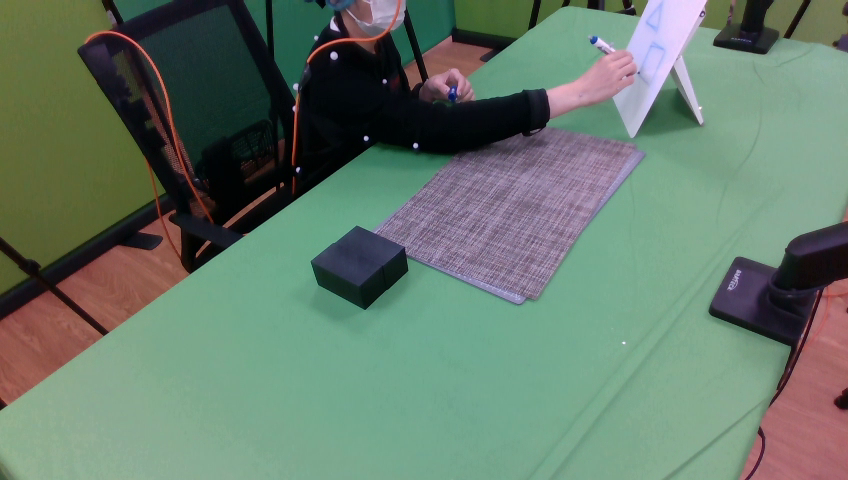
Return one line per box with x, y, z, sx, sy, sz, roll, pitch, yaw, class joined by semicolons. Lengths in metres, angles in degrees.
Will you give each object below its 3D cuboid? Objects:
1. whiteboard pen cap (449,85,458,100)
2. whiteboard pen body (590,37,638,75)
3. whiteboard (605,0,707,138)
0.061;-0.308;1.263;0.018;0.018;0.033;4;49;13;whiteboard pen cap
0.361;-0.343;1.134;0.142;0.017;0.017;21;28;-32;whiteboard pen body
0.496;-0.358;1.147;0.144;0.305;0.216;12;40;-7;whiteboard
